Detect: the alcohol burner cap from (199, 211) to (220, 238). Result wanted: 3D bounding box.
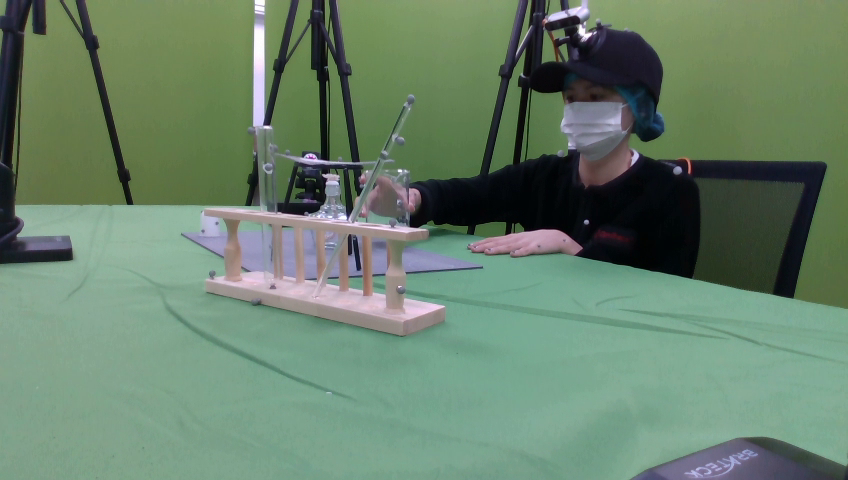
[{"bbox_3d":[-0.356,-0.027,1.002,0.034,0.048,0.034,2,7,0],"label":"alcohol burner cap"}]

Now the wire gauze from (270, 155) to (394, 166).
[{"bbox_3d":[-0.121,-0.102,0.785,0.122,0.011,0.124,-3,10,-38],"label":"wire gauze"}]

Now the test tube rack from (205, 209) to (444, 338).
[{"bbox_3d":[-0.100,0.021,0.565,0.241,0.085,0.067,7,8,32],"label":"test tube rack"}]

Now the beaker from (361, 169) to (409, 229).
[{"bbox_3d":[-0.058,-0.058,0.953,0.074,0.100,0.083,-5,12,-23],"label":"beaker"}]

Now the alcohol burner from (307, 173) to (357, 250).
[{"bbox_3d":[-0.144,-0.045,0.940,0.078,0.119,0.078,1,8,0],"label":"alcohol burner"}]

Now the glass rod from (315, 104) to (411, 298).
[{"bbox_3d":[-0.055,-0.027,0.517,0.008,0.199,0.008,23,24,-11],"label":"glass rod"}]

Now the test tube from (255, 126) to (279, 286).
[{"bbox_3d":[-0.147,-0.031,0.566,0.017,0.150,0.017,-1,8,0],"label":"test tube"}]

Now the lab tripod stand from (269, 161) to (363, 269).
[{"bbox_3d":[-0.125,-0.036,0.794,0.148,0.131,0.148,5,7,0],"label":"lab tripod stand"}]
